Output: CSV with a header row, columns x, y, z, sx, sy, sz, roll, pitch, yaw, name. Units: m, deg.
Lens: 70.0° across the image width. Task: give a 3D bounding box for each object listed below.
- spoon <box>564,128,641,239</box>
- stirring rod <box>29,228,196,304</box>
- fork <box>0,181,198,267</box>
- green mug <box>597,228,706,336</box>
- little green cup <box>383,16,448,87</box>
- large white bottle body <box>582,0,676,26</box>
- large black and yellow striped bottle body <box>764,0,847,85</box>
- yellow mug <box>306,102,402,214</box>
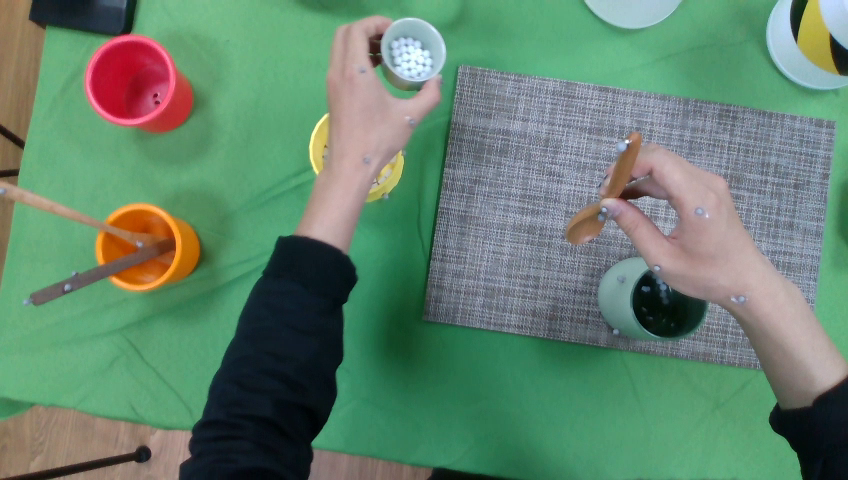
x,y,z,sx,sy,sz,roll,pitch,yaw,name
0.136,-0.036,0.455,0.041,0.194,0.021,-24,76,-3,spoon
-0.320,0.024,0.638,0.176,0.006,0.014,-31,89,-43,stirring rod
-0.336,-0.015,0.633,0.209,0.018,0.028,28,83,-42,fork
0.250,0.044,0.654,0.092,0.105,0.125,25,88,1,green mug
-0.011,-0.180,0.586,0.062,0.038,0.061,2,84,-13,little green cup
0.239,-0.319,0.629,0.130,0.185,0.130,0,87,1,large white bottle body
0.463,-0.250,0.629,0.131,0.184,0.130,0,88,0,large black and yellow striped bottle body
-0.084,-0.084,0.679,0.100,0.064,0.131,33,89,1,yellow mug
